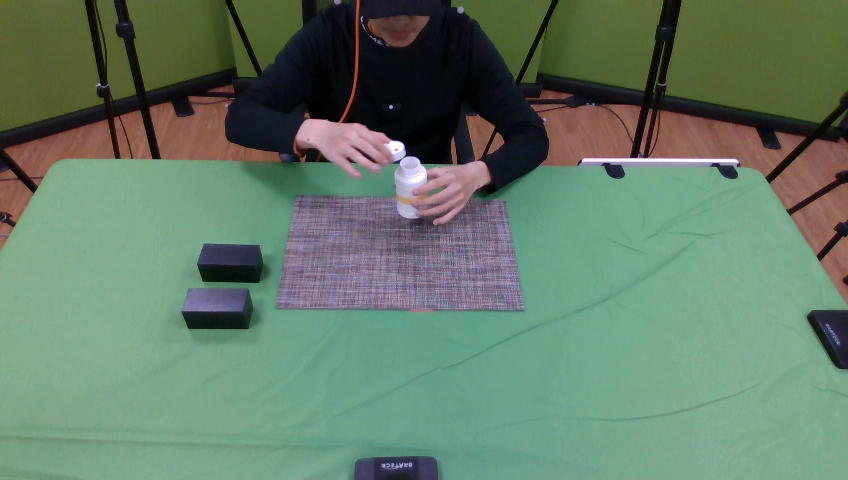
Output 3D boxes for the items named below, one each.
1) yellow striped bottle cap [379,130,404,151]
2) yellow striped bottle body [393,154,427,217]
[{"bbox_3d":[-0.058,-0.180,1.096,0.044,0.019,0.044,0,46,1],"label":"yellow striped bottle cap"},{"bbox_3d":[-0.026,-0.108,1.172,0.063,0.121,0.062,0,47,1],"label":"yellow striped bottle body"}]
